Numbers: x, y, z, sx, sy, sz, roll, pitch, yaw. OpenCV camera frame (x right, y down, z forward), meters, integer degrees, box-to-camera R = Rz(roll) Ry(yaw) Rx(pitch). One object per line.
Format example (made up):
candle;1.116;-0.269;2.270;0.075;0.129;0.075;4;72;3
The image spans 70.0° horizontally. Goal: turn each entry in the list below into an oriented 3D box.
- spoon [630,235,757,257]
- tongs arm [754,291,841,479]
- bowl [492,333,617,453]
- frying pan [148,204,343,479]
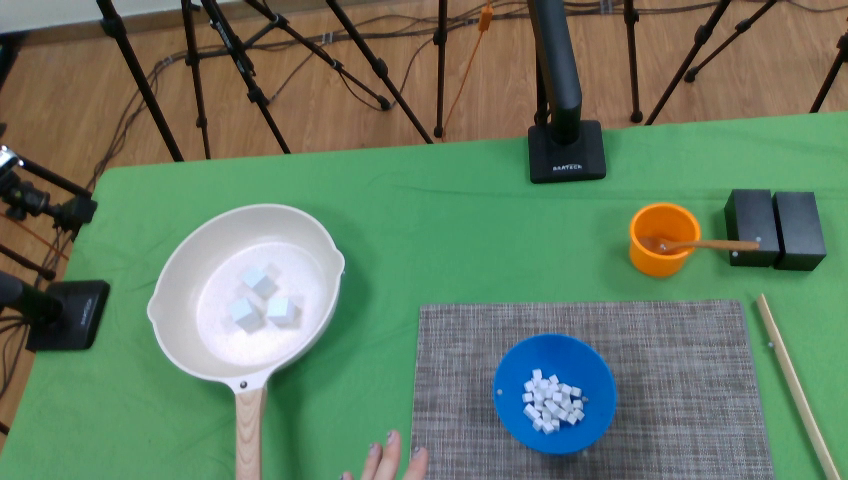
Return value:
spoon;0.354;0.006;0.814;0.022;0.193;0.041;47;71;-16
tongs arm;0.484;0.237;0.732;0.028;0.028;0.383;-11;60;2
bowl;0.166;0.203;0.778;0.151;0.077;0.150;-4;61;8
frying pan;-0.248;0.162;0.869;0.307;0.104;0.482;-14;51;4
